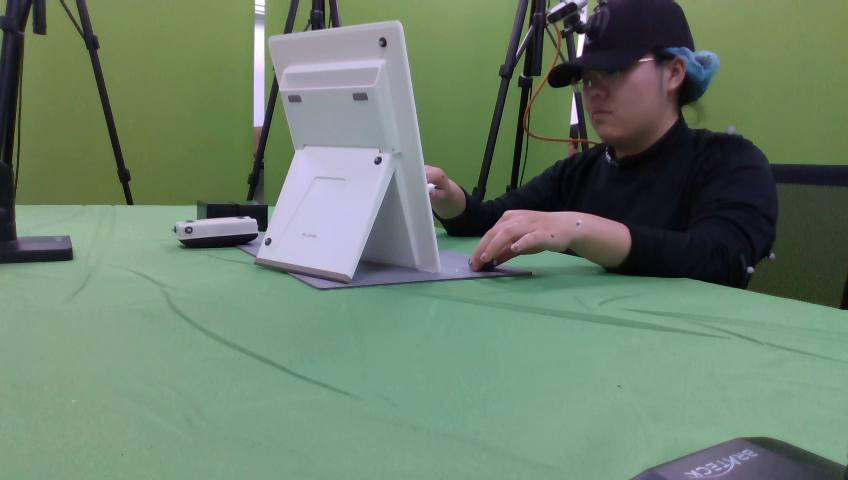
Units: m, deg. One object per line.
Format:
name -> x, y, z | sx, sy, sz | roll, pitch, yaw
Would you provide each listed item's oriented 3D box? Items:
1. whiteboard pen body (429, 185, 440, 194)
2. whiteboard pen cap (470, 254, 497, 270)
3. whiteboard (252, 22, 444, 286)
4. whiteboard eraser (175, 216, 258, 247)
whiteboard pen body -> -0.007, -0.082, 1.007 | 0.017, 0.017, 0.140 | -1, 2, -26
whiteboard pen cap -> 0.079, 0.030, 0.799 | 0.033, 0.018, 0.018 | 15, 3, -19
whiteboard -> -0.125, -0.081, 0.715 | 0.216, 0.305, 0.144 | 9, 29, 36
whiteboard eraser -> -0.314, -0.012, 0.915 | 0.113, 0.042, 0.055 | -5, 12, -30
